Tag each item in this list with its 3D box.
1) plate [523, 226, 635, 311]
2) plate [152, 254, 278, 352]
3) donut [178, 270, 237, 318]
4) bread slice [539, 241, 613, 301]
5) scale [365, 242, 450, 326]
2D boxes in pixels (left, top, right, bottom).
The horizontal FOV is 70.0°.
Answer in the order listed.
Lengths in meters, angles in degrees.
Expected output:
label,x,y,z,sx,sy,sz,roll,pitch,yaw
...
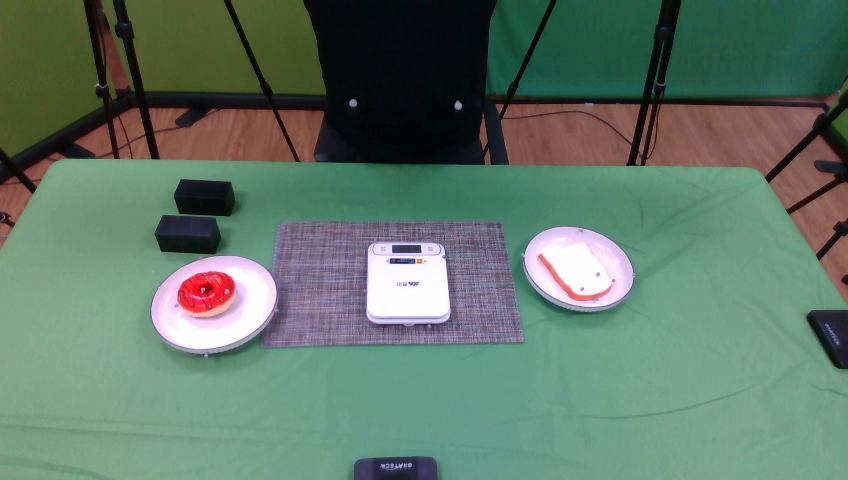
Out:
label,x,y,z,sx,sy,sz,roll,pitch,yaw
plate,0.291,0.058,1.151,0.209,0.038,0.208,2,46,-2
plate,-0.357,0.111,1.052,0.208,0.039,0.206,2,46,-2
donut,-0.375,0.092,1.053,0.099,0.048,0.098,1,42,0
bread slice,0.297,0.058,1.153,0.105,0.019,0.130,-15,50,-18
scale,-0.032,0.071,1.113,0.149,0.032,0.199,1,46,-4
